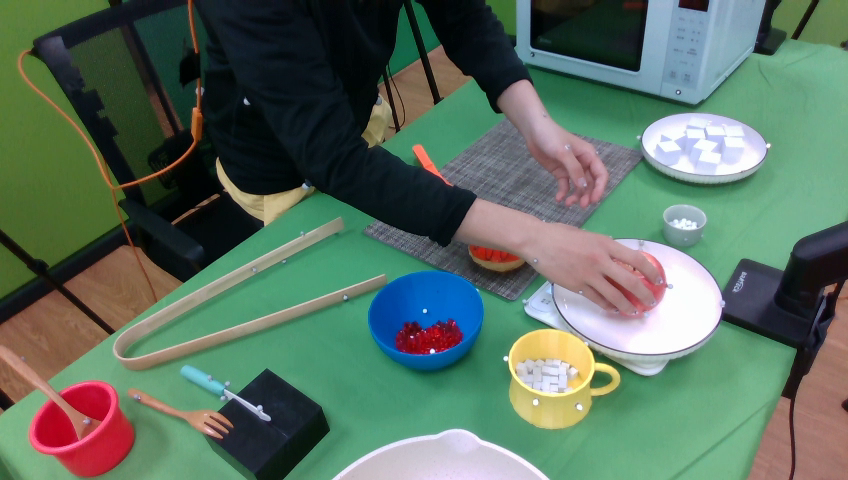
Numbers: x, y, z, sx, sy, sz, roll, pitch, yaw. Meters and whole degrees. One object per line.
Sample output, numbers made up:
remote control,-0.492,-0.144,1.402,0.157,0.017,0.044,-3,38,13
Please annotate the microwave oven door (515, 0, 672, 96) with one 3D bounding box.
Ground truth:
microwave oven door,0.343,-0.454,1.258,0.353,0.245,0.039,26,51,33

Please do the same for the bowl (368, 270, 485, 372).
bowl,0.007,0.119,0.791,0.151,0.077,0.150,-5,39,4

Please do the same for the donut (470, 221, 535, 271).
donut,0.119,0.008,0.924,0.099,0.048,0.098,-5,39,5

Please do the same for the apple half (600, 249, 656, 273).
apple half,0.261,0.039,0.781,0.081,0.081,0.032,-7,42,1

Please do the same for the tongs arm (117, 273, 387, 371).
tongs arm,-0.237,0.115,0.870,0.389,0.028,0.028,-18,49,-12

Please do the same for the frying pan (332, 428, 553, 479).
frying pan,-0.089,0.306,0.564,0.487,0.103,0.306,10,41,7

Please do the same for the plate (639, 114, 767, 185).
plate,0.489,-0.157,1.074,0.207,0.039,0.206,-4,40,4

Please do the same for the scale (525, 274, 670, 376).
scale,0.254,0.092,0.821,0.199,0.032,0.149,28,51,35

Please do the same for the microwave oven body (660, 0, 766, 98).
microwave oven body,0.472,-0.513,1.317,0.438,0.261,0.327,26,51,34

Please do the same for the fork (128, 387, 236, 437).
fork,-0.305,0.207,0.744,0.206,0.019,0.028,3,40,36

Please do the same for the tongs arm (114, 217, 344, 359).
tongs arm,-0.280,0.068,0.927,0.386,0.026,0.050,-29,49,-23

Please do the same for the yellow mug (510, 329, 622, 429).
yellow mug,0.168,0.165,0.721,0.130,0.064,0.099,0,40,8

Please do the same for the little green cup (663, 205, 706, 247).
little green cup,0.396,-0.020,0.926,0.061,0.039,0.061,-4,40,4

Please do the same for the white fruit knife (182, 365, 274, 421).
white fruit knife,-0.245,0.188,0.747,0.205,0.027,0.016,9,40,40

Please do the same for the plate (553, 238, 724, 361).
plate,0.273,0.078,0.784,0.209,0.038,0.208,-4,41,4

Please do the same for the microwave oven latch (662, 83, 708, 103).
microwave oven latch,0.518,-0.296,1.204,0.078,0.029,0.030,28,52,35

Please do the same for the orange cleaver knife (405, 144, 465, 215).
orange cleaver knife,0.005,-0.113,1.103,0.077,0.012,0.209,-23,44,-10

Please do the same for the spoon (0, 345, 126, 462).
spoon,-0.434,0.191,0.720,0.194,0.021,0.042,47,53,-6

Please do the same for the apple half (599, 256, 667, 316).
apple half,0.263,0.064,0.753,0.081,0.075,0.053,-5,43,-2
